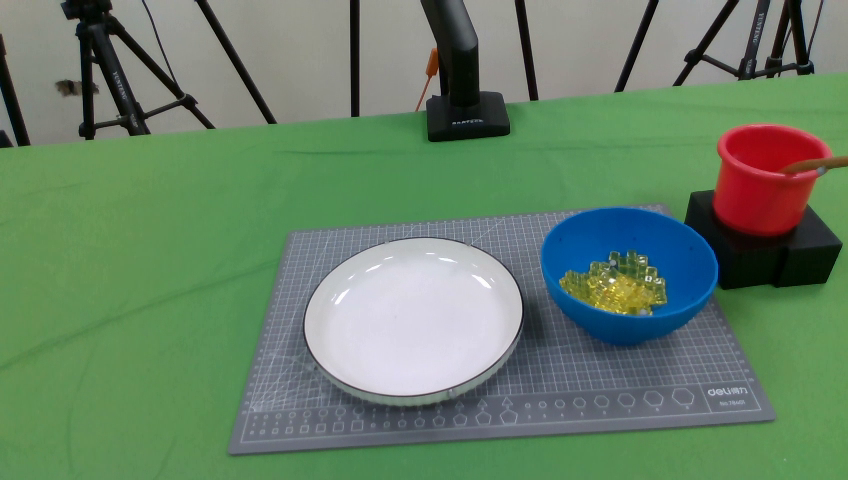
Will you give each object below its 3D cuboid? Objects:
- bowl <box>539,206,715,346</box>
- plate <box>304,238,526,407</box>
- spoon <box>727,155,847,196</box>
[{"bbox_3d":[0.180,0.044,0.560,0.151,0.077,0.150,-4,39,3],"label":"bowl"},{"bbox_3d":[-0.008,0.076,0.578,0.207,0.039,0.205,-4,39,3],"label":"plate"},{"bbox_3d":[0.321,-0.058,0.539,0.041,0.021,0.194,1,-4,7],"label":"spoon"}]
